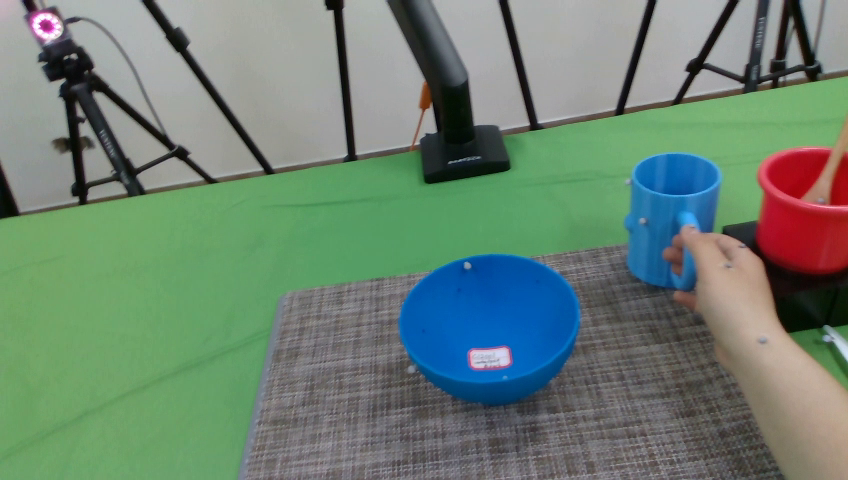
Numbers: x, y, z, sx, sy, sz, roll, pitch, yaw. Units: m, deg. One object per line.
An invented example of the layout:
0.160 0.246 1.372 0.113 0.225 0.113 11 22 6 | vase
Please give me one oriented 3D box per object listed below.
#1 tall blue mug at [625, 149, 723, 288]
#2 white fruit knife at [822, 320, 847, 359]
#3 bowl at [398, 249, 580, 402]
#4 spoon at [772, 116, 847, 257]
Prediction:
0.245 -0.014 0.575 0.078 0.109 0.106 -21 39 -13 | tall blue mug
0.353 0.131 0.446 0.027 0.016 0.205 14 34 -13 | white fruit knife
0.058 0.086 0.522 0.151 0.077 0.150 -7 38 6 | bowl
0.355 -0.073 0.517 0.041 0.022 0.194 28 96 42 | spoon
